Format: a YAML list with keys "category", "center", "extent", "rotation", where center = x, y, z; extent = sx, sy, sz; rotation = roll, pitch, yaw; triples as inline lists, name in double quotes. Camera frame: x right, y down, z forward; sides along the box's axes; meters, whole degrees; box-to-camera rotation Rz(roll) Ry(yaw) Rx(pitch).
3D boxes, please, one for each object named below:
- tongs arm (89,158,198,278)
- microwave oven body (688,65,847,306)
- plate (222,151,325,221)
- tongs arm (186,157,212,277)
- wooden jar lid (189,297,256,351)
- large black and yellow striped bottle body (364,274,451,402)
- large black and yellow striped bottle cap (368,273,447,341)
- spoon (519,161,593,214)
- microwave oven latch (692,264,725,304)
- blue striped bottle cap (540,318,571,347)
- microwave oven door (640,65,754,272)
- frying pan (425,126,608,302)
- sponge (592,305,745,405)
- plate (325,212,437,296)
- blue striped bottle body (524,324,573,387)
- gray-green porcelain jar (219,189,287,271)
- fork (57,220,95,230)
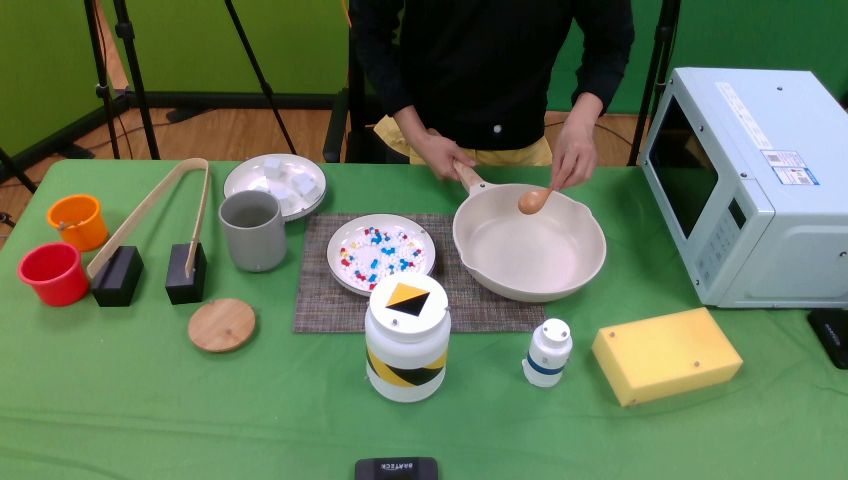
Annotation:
- category: "tongs arm"
  center: [-0.529, -0.057, 1.164]
  extent: [0.028, 0.028, 0.385]
  rotation: [1, 36, 8]
- category: "microwave oven body"
  center: [0.669, -0.111, 1.176]
  extent: [0.326, 0.261, 0.439]
  rotation: [0, 46, -3]
- category: "plate"
  center: [-0.310, -0.106, 1.263]
  extent: [0.208, 0.039, 0.206]
  rotation: [2, 47, -2]
- category: "tongs arm"
  center: [-0.445, -0.058, 1.168]
  extent: [0.051, 0.026, 0.382]
  rotation: [-5, 37, -6]
- category: "wooden jar lid"
  center: [-0.342, 0.145, 1.033]
  extent: [0.108, 0.021, 0.107]
  rotation: [2, 45, -2]
- category: "large black and yellow striped bottle body"
  center: [-0.026, 0.151, 0.937]
  extent: [0.131, 0.185, 0.130]
  rotation: [2, 47, -2]
- category: "large black and yellow striped bottle cap"
  center: [-0.023, 0.094, 0.875]
  extent: [0.115, 0.019, 0.114]
  rotation: [2, 45, -2]
- category: "spoon"
  center: [0.244, -0.102, 1.102]
  extent: [0.194, 0.021, 0.041]
  rotation: [-33, 93, -31]
- category: "microwave oven latch"
  center: [0.522, 0.081, 1.116]
  extent: [0.030, 0.029, 0.078]
  rotation: [1, 46, -2]
- category: "blue striped bottle cap"
  center: [0.203, 0.142, 0.933]
  extent: [0.044, 0.021, 0.044]
  rotation: [3, 49, -3]
- category: "microwave oven door"
  center: [0.524, -0.148, 1.193]
  extent: [0.039, 0.245, 0.353]
  rotation: [0, 47, -3]
- category: "frying pan"
  center: [0.144, -0.070, 1.208]
  extent: [0.307, 0.103, 0.485]
  rotation: [-22, 60, -25]
- category: "sponge"
  center: [0.405, 0.190, 1.014]
  extent: [0.207, 0.061, 0.117]
  rotation: [-10, 48, -13]
- category: "plate"
  center: [-0.080, 0.030, 1.143]
  extent: [0.209, 0.038, 0.208]
  rotation: [2, 46, -2]
- category: "blue striped bottle body"
  center: [0.200, 0.178, 0.970]
  extent: [0.063, 0.121, 0.062]
  rotation: [2, 46, -2]
- category: "gray-green porcelain jar"
  center: [-0.309, -0.014, 1.113]
  extent: [0.106, 0.127, 0.105]
  rotation: [2, 46, -2]
- category: "fork"
  center: [-0.624, -0.027, 1.086]
  extent: [0.028, 0.207, 0.018]
  rotation: [-3, 92, -17]
